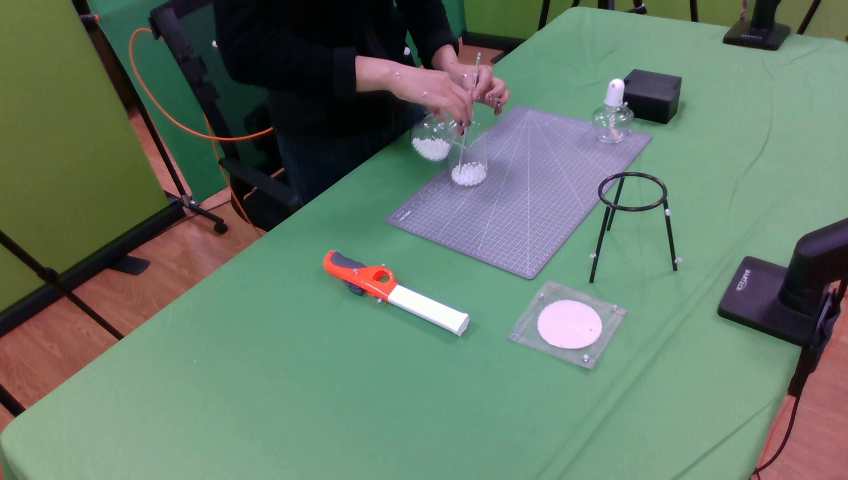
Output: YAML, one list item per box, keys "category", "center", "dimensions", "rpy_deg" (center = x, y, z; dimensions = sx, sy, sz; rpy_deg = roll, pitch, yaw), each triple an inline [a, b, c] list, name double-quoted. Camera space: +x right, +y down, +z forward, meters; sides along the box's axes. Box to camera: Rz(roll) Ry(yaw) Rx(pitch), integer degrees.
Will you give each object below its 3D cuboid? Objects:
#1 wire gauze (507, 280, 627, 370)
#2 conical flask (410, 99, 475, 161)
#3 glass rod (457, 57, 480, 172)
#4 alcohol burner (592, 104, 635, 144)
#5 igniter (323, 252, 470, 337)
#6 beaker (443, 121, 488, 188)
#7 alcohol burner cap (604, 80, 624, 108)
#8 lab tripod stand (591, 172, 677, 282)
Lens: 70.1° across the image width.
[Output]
- category: "wire gauze"
  center: [0.196, 0.114, 0.823]
  dimensions: [0.120, 0.011, 0.125]
  rpy_deg: [20, 50, 31]
- category: "conical flask"
  center: [0.038, -0.190, 1.003]
  dimensions: [0.075, 0.075, 0.122]
  rpy_deg: [20, 49, 31]
- category: "glass rod"
  center: [0.077, -0.216, 1.053]
  dimensions: [0.008, 0.199, 0.008]
  rpy_deg: [9, 13, -2]
- category: "alcohol burner"
  center: [0.353, -0.242, 1.126]
  dimensions: [0.078, 0.119, 0.077]
  rpy_deg: [-5, 38, 5]
- category: "igniter"
  center: [-0.052, 0.075, 0.901]
  dimensions: [0.274, 0.025, 0.057]
  rpy_deg: [22, 60, 32]
- category: "beaker"
  center: [0.078, -0.150, 1.083]
  dimensions: [0.074, 0.101, 0.083]
  rpy_deg: [-9, 40, 1]
- category: "alcohol burner cap"
  center: [0.350, -0.269, 1.102]
  dimensions: [0.034, 0.048, 0.033]
  rpy_deg: [-2, 46, 2]
- category: "lab tripod stand"
  center: [0.292, -0.022, 0.867]
  dimensions: [0.148, 0.132, 0.147]
  rpy_deg: [-7, 39, 6]
